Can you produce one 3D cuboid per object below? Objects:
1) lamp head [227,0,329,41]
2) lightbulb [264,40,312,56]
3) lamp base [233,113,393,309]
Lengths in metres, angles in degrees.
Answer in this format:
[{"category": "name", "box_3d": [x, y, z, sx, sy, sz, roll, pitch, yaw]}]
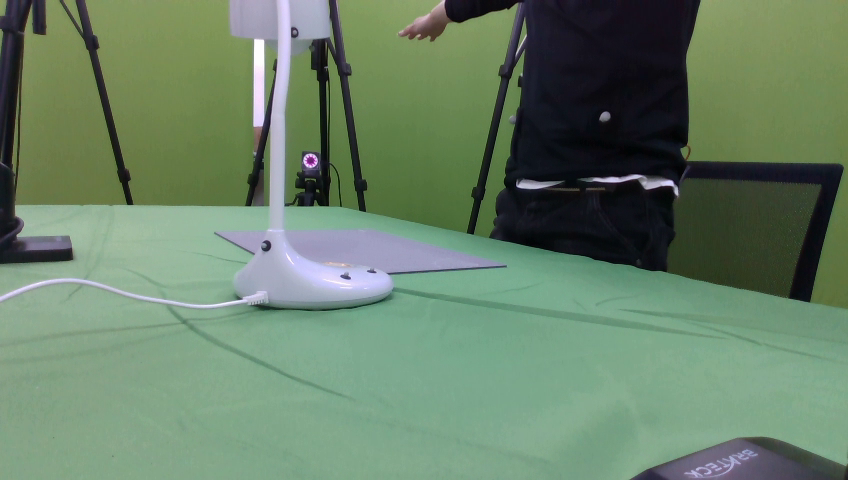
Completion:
[{"category": "lamp head", "box_3d": [-0.161, -0.280, 0.657, 0.112, 0.123, 0.112, 2, 29, -1]}, {"category": "lightbulb", "box_3d": [-0.156, -0.261, 0.673, 0.059, 0.107, 0.059, -3, 23, 2]}, {"category": "lamp base", "box_3d": [-0.113, -0.032, 0.595, 0.160, 0.180, 0.179, 4, 10, 18]}]
